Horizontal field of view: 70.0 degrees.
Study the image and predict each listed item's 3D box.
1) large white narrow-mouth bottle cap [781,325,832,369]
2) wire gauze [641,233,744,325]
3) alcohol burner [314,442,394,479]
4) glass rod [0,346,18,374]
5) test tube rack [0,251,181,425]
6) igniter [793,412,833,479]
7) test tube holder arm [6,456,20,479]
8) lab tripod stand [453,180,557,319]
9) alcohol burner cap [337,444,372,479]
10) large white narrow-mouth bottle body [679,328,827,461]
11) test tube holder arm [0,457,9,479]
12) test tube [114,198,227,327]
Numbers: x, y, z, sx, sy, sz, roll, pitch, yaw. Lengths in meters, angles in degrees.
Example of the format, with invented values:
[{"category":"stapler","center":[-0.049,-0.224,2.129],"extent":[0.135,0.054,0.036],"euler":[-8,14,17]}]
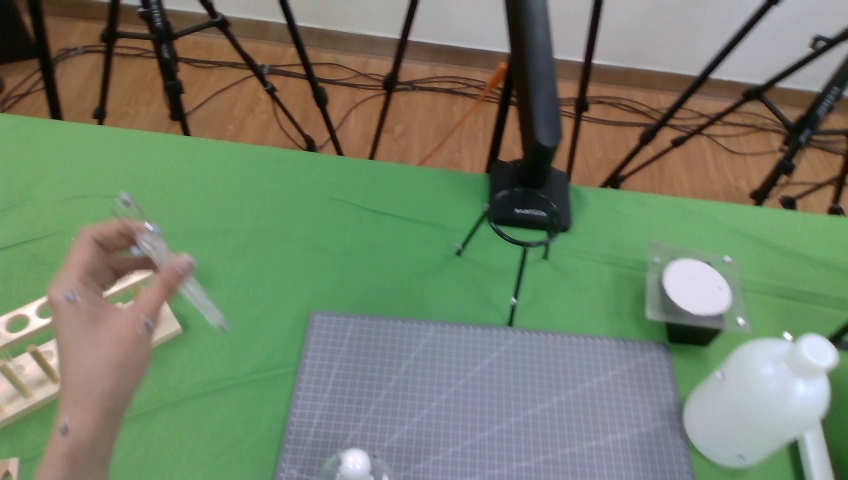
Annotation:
[{"category":"large white narrow-mouth bottle cap","center":[0.355,0.099,0.565],"extent":[0.038,0.024,0.037],"euler":[3,52,-3]},{"category":"wire gauze","center":[0.334,0.049,0.765],"extent":[0.121,0.011,0.124],"euler":[11,52,3]},{"category":"alcohol burner","center":[-0.066,0.225,0.577],"extent":[0.078,0.120,0.077],"euler":[4,51,-5]},{"category":"glass rod","center":[-0.432,0.073,0.589],"extent":[0.008,0.201,0.008],"euler":[5,43,-4]},{"category":"test tube rack","center":[-0.399,0.112,0.647],"extent":[0.242,0.086,0.066],"euler":[-29,61,-25]},{"category":"igniter","center":[0.424,0.293,0.639],"extent":[0.057,0.025,0.274],"euler":[17,52,-6]},{"category":"test tube holder arm","center":[-0.356,0.271,0.513],"extent":[0.013,0.015,0.176],"euler":[-7,54,-22]},{"category":"lab tripod stand","center":[0.108,0.004,0.757],"extent":[0.148,0.132,0.147],"euler":[4,54,-5]},{"category":"alcohol burner cap","center":[-0.064,0.204,0.548],"extent":[0.034,0.048,0.033],"euler":[2,47,-2]},{"category":"large white narrow-mouth bottle body","center":[0.349,0.152,0.632],"extent":[0.102,0.196,0.101],"euler":[3,52,-3]},{"category":"test tube holder arm","center":[-0.375,0.237,0.536],"extent":[0.010,0.015,0.087],"euler":[-7,54,-22]},{"category":"test tube","center":[-0.176,0.023,0.435],"extent":[0.017,0.152,0.017],"euler":[-4,54,6]}]
